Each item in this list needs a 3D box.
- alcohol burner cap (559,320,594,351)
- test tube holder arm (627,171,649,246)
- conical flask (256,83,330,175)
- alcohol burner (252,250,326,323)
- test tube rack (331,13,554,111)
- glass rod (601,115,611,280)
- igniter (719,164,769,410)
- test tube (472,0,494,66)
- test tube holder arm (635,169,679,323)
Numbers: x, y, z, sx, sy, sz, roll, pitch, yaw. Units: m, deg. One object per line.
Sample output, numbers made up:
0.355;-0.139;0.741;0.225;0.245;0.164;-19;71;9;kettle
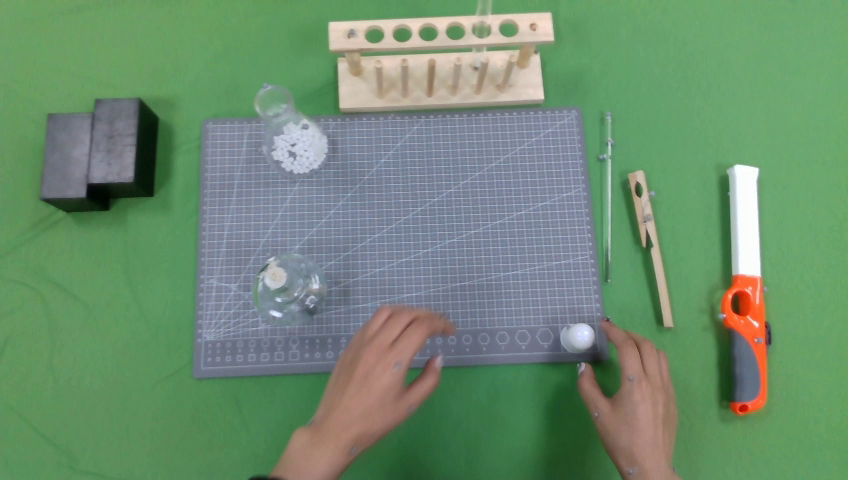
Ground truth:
0.165;0.100;0.648;0.034;0.048;0.033;0;76;0;alcohol burner cap
0.249;-0.036;0.697;0.010;0.015;0.087;-17;75;34;test tube holder arm
-0.146;-0.123;0.653;0.075;0.122;0.075;0;77;-1;conical flask
-0.142;0.044;0.620;0.078;0.119;0.077;0;75;1;alcohol burner
0.021;-0.202;0.696;0.242;0.085;0.066;-3;77;-1;test tube rack
0.211;-0.052;0.703;0.008;0.008;0.199;5;80;0;glass rod
0.354;0.048;0.673;0.057;0.025;0.275;8;77;-9;igniter
0.064;-0.236;0.653;0.017;0.151;0.017;0;71;0;test tube
0.261;0.005;0.684;0.013;0.015;0.177;-19;74;33;test tube holder arm
